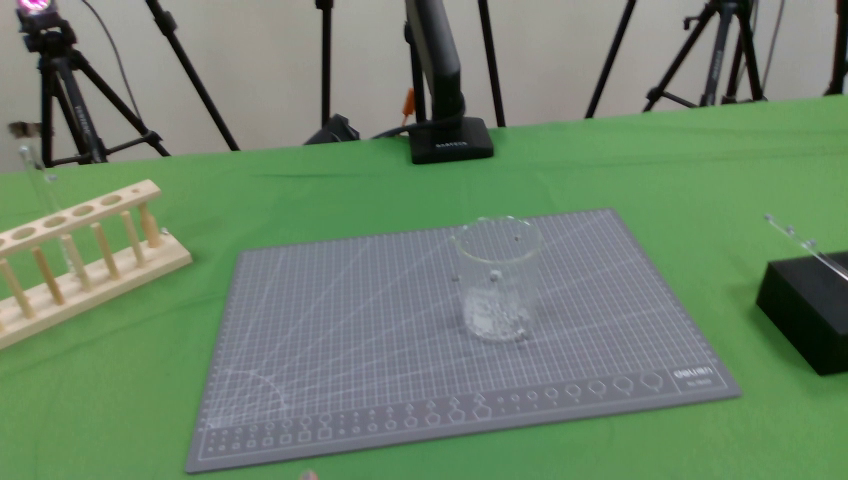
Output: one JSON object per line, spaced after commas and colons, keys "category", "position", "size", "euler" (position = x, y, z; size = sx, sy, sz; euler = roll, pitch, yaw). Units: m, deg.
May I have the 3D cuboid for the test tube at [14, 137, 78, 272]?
{"category": "test tube", "position": [-0.383, -0.032, 0.623], "size": [0.017, 0.151, 0.017], "euler": [-4, 28, 3]}

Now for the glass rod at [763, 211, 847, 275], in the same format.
{"category": "glass rod", "position": [0.371, 0.025, 0.533], "size": [0.008, 0.008, 0.197], "euler": [-12, 36, -11]}

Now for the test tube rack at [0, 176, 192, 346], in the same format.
{"category": "test tube rack", "position": [-0.381, 0.024, 0.631], "size": [0.242, 0.086, 0.066], "euler": [-29, 43, -31]}

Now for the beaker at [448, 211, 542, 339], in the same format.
{"category": "beaker", "position": [0.064, 0.034, 0.556], "size": [0.083, 0.101, 0.073], "euler": [6, 37, 16]}
